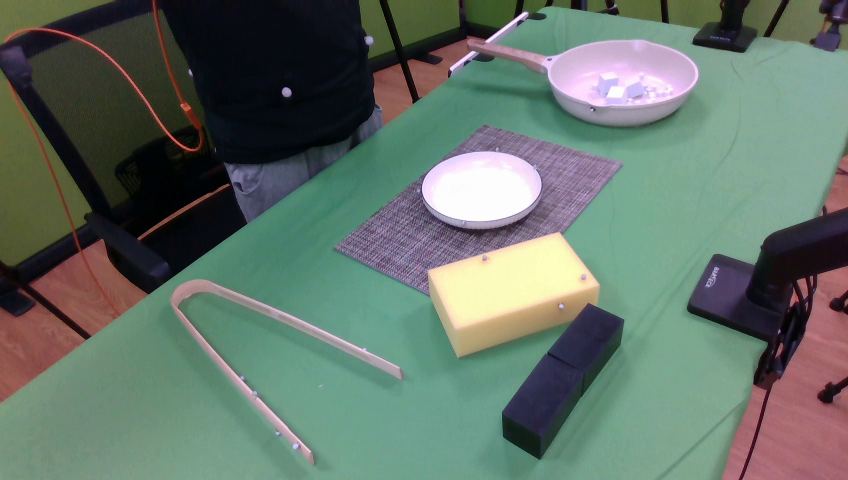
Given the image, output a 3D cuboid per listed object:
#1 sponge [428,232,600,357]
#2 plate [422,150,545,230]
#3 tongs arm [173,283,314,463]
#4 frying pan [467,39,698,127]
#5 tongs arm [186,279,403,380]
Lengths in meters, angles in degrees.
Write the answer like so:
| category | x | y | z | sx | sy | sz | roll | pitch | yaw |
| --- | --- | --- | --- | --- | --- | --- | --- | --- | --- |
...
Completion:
| category | x | y | z | sx | sy | sz | roll | pitch | yaw |
| --- | --- | --- | --- | --- | --- | --- | --- | --- | --- |
| sponge | 0.120 | 0.071 | 0.834 | 0.207 | 0.061 | 0.117 | -15 | 43 | -12 |
| plate | 0.101 | -0.082 | 1.031 | 0.207 | 0.039 | 0.206 | -4 | 40 | 4 |
| tongs arm | -0.246 | 0.161 | 0.806 | 0.381 | 0.026 | 0.051 | 29 | 51 | 36 |
| frying pan | 0.312 | -0.359 | 1.277 | 0.485 | 0.103 | 0.307 | 23 | 48 | 19 |
| tongs arm | -0.193 | 0.120 | 0.853 | 0.385 | 0.028 | 0.028 | 18 | 49 | 27 |
